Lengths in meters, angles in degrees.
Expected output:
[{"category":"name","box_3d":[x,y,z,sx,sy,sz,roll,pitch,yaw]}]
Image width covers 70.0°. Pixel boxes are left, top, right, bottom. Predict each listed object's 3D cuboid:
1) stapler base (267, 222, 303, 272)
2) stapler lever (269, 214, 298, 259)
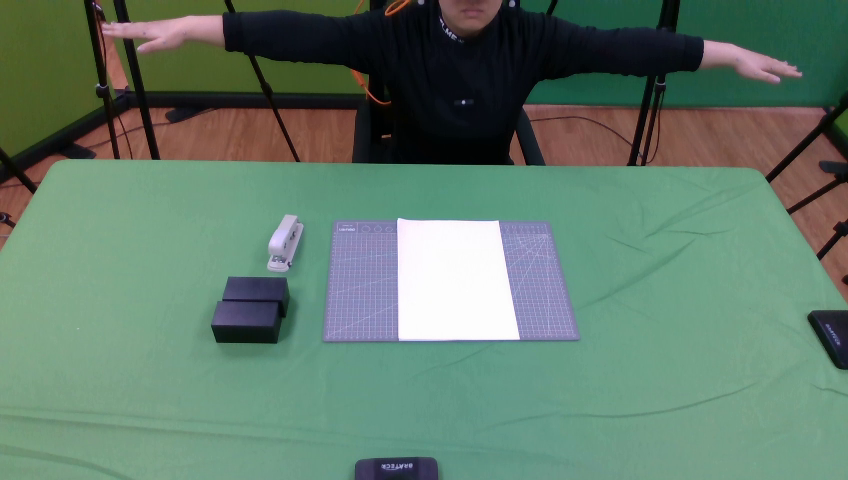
[{"category":"stapler base","box_3d":[-0.269,0.005,1.170,0.041,0.024,0.130,8,44,0]},{"category":"stapler lever","box_3d":[-0.268,-0.014,1.153,0.027,0.040,0.117,8,44,0]}]
